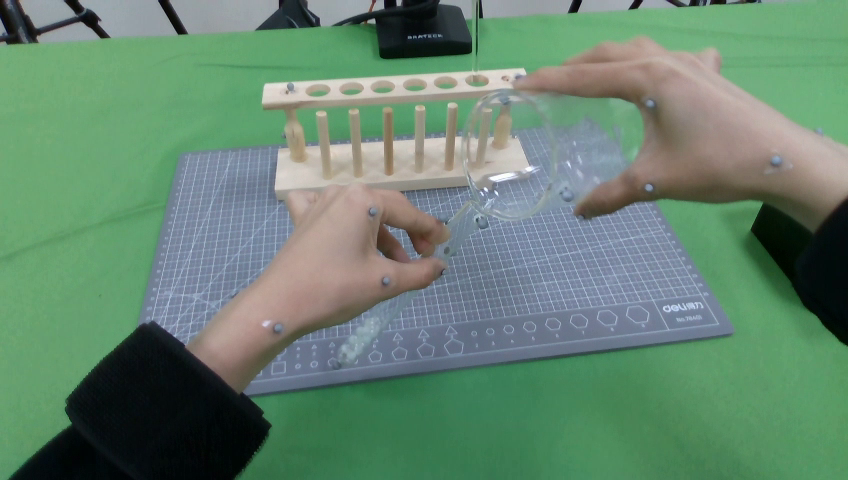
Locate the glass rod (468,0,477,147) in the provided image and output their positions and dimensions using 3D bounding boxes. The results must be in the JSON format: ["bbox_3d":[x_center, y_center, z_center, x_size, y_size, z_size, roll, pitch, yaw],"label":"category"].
[{"bbox_3d":[0.044,-0.174,0.552,0.008,0.201,0.008,-1,38,1],"label":"glass rod"}]

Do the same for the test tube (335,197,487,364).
[{"bbox_3d":[-0.012,0.030,0.395,0.017,0.150,0.017,35,22,-16],"label":"test tube"}]

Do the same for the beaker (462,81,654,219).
[{"bbox_3d":[0.083,-0.055,0.368,0.100,0.084,0.073,-14,56,-35],"label":"beaker"}]

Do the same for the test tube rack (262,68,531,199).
[{"bbox_3d":[-0.022,-0.101,0.572,0.243,0.086,0.066,-5,45,-5],"label":"test tube rack"}]
